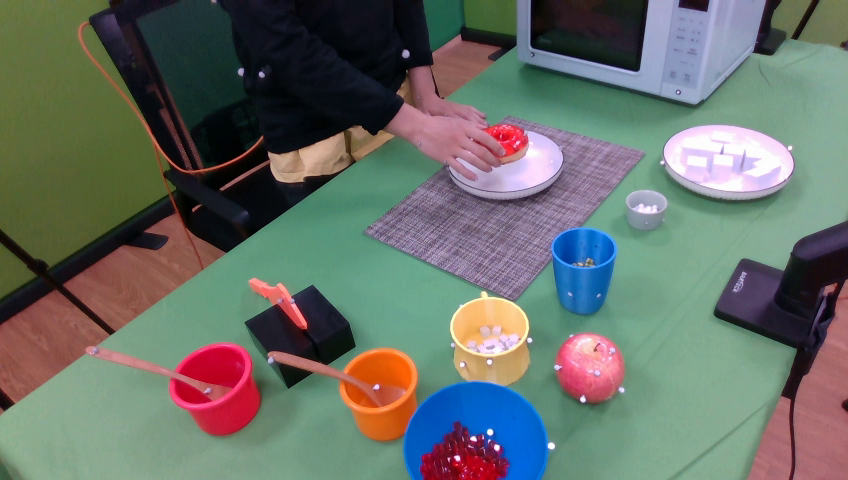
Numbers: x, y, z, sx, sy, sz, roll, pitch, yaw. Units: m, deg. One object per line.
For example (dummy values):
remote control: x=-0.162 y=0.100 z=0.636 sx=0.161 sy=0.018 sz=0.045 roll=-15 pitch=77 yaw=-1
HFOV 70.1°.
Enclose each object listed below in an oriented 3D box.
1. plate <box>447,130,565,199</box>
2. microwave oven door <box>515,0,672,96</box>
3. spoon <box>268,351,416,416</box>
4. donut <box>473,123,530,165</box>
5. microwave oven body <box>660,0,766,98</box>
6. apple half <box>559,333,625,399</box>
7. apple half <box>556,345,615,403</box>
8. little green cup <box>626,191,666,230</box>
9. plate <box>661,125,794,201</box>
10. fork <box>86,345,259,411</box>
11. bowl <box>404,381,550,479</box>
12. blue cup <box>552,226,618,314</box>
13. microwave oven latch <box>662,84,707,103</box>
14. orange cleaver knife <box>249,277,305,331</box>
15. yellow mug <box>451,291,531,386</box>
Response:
plate: x=0.147 y=-0.134 z=1.092 sx=0.209 sy=0.038 sz=0.208 roll=-4 pitch=40 yaw=4
microwave oven door: x=0.343 y=-0.455 z=1.259 sx=0.353 sy=0.245 sz=0.039 roll=26 pitch=51 yaw=33
spoon: x=-0.090 y=0.162 z=0.699 sx=0.021 sy=0.195 sz=0.041 roll=-44 pitch=31 yaw=27
donut: x=0.133 y=-0.167 z=1.039 sx=0.099 sy=0.048 sz=0.098 roll=-4 pitch=41 yaw=4
microwave oven body: x=0.472 y=-0.513 z=1.317 sx=0.438 sy=0.261 sz=0.327 roll=26 pitch=51 yaw=34
apple half: x=0.209 y=0.147 z=0.730 sx=0.080 sy=0.075 sz=0.053 roll=26 pitch=48 yaw=38
apple half: x=0.181 y=0.167 z=0.709 sx=0.080 sy=0.081 sz=0.033 roll=29 pitch=50 yaw=35
little green cup: x=0.352 y=-0.046 z=0.963 sx=0.061 sy=0.039 sz=0.061 roll=-4 pitch=40 yaw=4
plate: x=0.513 y=-0.128 z=1.035 sx=0.207 sy=0.039 sz=0.206 roll=-4 pitch=40 yaw=4
fork: x=-0.298 y=0.166 z=0.728 sx=0.209 sy=0.018 sz=0.028 roll=28 pitch=47 yaw=-23
bowl: x=0.058 y=0.235 z=0.645 sx=0.151 sy=0.077 sz=0.150 roll=-4 pitch=39 yaw=4
blue cup: x=0.218 y=0.047 z=0.826 sx=0.092 sy=0.101 sz=0.092 roll=-6 pitch=40 yaw=5
microwave oven latch: x=0.517 y=-0.296 z=1.204 sx=0.078 sy=0.029 sz=0.030 roll=27 pitch=52 yaw=35
orange cleaver knife: x=-0.210 y=0.088 z=0.855 sx=0.012 sy=0.077 sz=0.210 roll=-28 pitch=15 yaw=-25
yellow mug: x=0.085 y=0.120 z=0.786 sx=0.100 sy=0.064 sz=0.130 roll=-7 pitch=39 yaw=1
